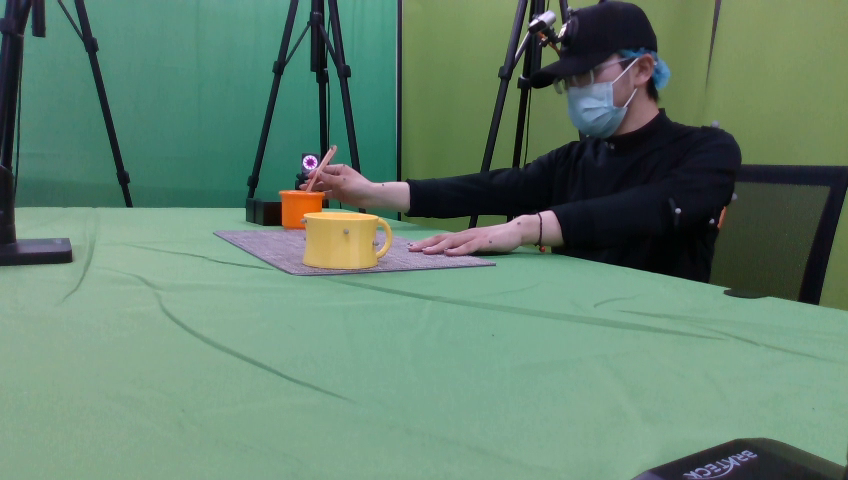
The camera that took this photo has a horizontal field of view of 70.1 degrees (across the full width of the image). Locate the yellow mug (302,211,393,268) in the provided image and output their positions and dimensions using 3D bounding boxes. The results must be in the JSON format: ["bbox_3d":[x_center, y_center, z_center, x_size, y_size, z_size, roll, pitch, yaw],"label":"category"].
[{"bbox_3d":[-0.098,-0.003,0.810,0.131,0.064,0.099,-2,8,-37],"label":"yellow mug"}]

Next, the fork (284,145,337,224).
[{"bbox_3d":[-0.231,-0.117,1.251,0.028,0.207,0.018,19,-22,16],"label":"fork"}]
